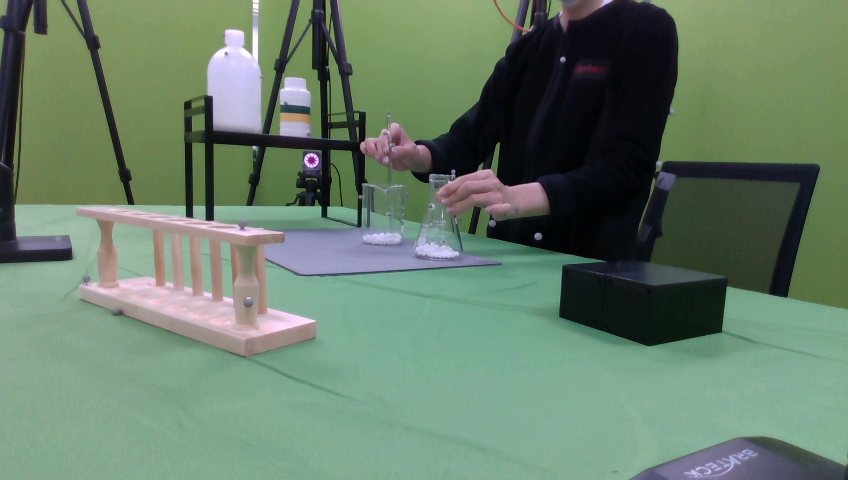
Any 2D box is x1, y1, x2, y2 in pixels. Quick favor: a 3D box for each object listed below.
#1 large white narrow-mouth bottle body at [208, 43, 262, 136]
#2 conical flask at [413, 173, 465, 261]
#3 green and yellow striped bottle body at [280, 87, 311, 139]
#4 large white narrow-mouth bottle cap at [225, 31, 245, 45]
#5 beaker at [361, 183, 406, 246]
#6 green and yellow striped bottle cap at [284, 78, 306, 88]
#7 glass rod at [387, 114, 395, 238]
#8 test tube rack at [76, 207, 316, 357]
[{"bbox_3d":[-0.368,-0.304,1.181,0.102,0.194,0.101,2,9,0],"label":"large white narrow-mouth bottle body"},{"bbox_3d":[0.024,-0.034,0.868,0.075,0.122,0.075,2,7,0],"label":"conical flask"},{"bbox_3d":[-0.269,-0.274,1.266,0.063,0.119,0.063,3,7,0],"label":"green and yellow striped bottle body"},{"bbox_3d":[-0.365,-0.388,1.166,0.038,0.024,0.037,3,9,0],"label":"large white narrow-mouth bottle cap"},{"bbox_3d":[-0.067,-0.042,0.993,0.074,0.100,0.084,1,8,-8],"label":"beaker"},{"bbox_3d":[-0.268,-0.325,1.259,0.045,0.020,0.045,5,7,0],"label":"green and yellow striped bottle cap"},{"bbox_3d":[-0.053,-0.102,0.970,0.008,0.199,0.008,-2,3,0],"label":"glass rod"},{"bbox_3d":[-0.196,0.023,0.500,0.241,0.085,0.067,8,9,36],"label":"test tube rack"}]
